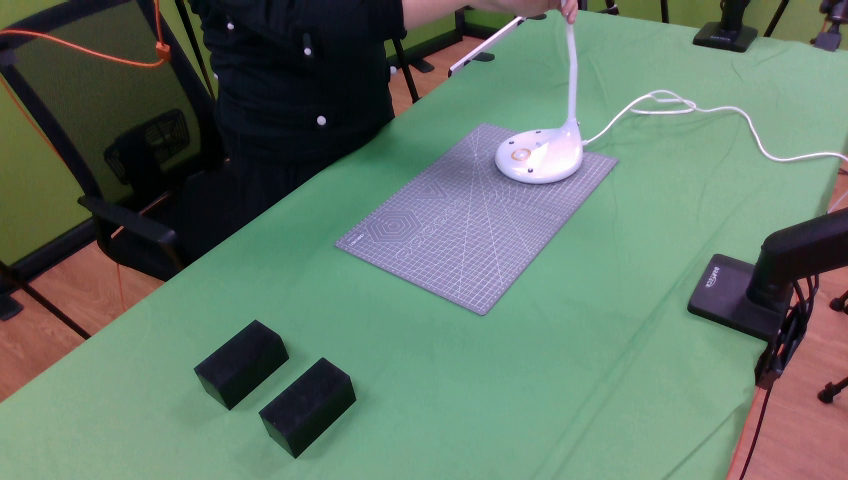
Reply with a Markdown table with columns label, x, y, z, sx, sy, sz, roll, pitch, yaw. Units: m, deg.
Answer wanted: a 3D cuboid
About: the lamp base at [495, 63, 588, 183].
| label | x | y | z | sx | sy | sz | roll | pitch | yaw |
| --- | --- | --- | --- | --- | --- | --- | --- | --- | --- |
| lamp base | 0.215 | -0.217 | 1.067 | 0.180 | 0.181 | 0.159 | -19 | 42 | -18 |
